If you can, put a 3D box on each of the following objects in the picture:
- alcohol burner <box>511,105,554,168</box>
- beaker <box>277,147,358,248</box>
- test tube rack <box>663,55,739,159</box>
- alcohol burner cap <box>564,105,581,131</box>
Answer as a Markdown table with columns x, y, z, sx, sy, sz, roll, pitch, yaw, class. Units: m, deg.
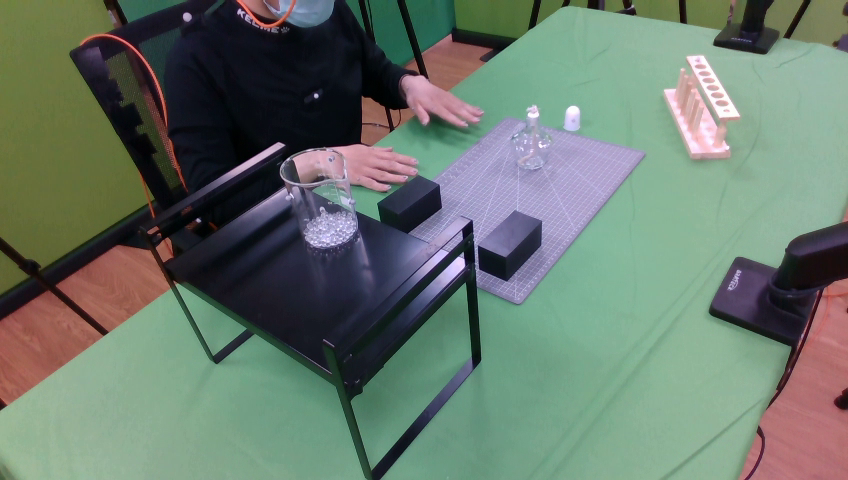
| x | y | z | sx | sy | sz | roll | pitch | yaw | class |
| --- | --- | --- | --- | --- | --- | --- | --- | --- | --- |
| 0.195 | -0.190 | 1.088 | 0.078 | 0.119 | 0.077 | -3 | 42 | 3 | alcohol burner |
| -0.117 | -0.046 | 0.705 | 0.083 | 0.101 | 0.074 | 17 | 47 | 25 | beaker |
| 0.518 | -0.256 | 1.144 | 0.066 | 0.085 | 0.241 | -1 | 41 | 8 | test tube rack |
| 0.294 | -0.243 | 1.195 | 0.034 | 0.048 | 0.033 | -4 | 40 | 4 | alcohol burner cap |
